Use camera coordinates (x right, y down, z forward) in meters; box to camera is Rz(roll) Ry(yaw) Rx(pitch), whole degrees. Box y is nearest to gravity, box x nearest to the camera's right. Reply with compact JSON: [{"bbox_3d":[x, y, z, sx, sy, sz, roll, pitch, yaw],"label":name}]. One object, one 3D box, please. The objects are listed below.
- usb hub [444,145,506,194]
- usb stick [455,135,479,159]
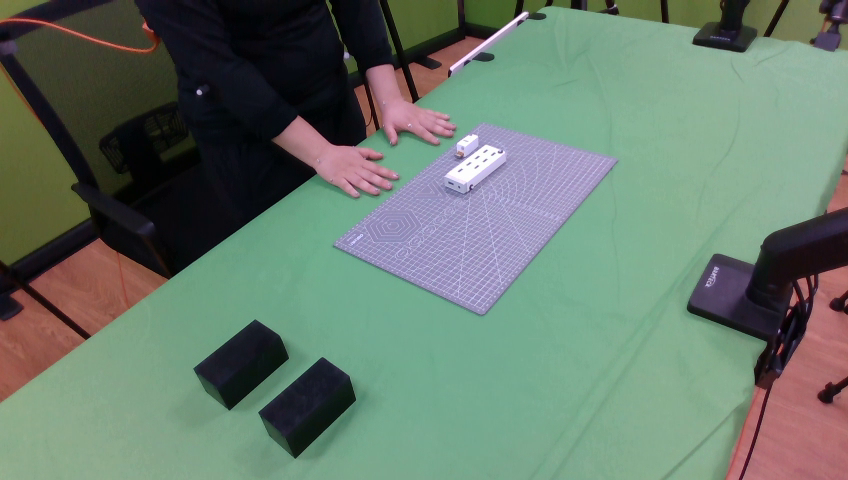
[{"bbox_3d":[0.095,-0.129,1.102,0.049,0.025,0.125,27,51,33],"label":"usb hub"},{"bbox_3d":[0.080,-0.177,1.159,0.021,0.027,0.059,24,52,33],"label":"usb stick"}]
